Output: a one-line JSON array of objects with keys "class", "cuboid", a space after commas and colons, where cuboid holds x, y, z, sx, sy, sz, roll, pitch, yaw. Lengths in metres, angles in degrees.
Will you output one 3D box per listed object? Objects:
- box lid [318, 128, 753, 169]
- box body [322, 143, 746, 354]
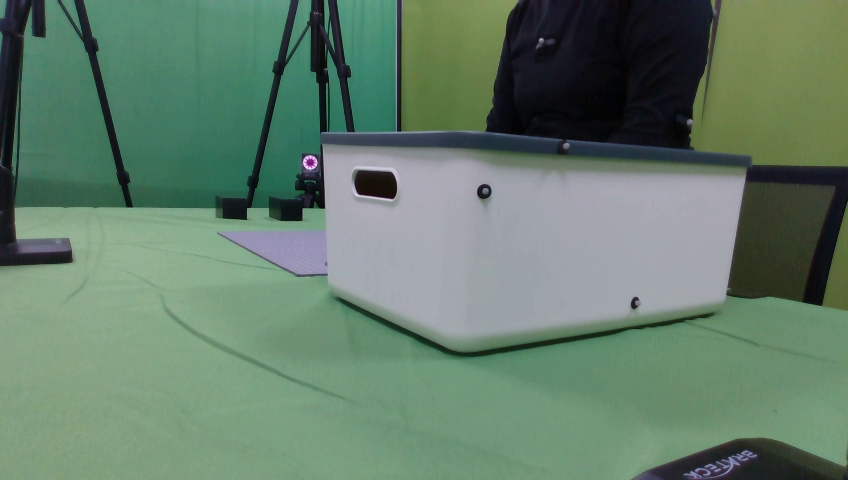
[{"class": "box lid", "cuboid": [0.107, -0.085, 0.593, 0.373, 0.015, 0.262, -1, 8, -34]}, {"class": "box body", "cuboid": [0.106, -0.011, 0.603, 0.366, 0.160, 0.253, -2, 8, -34]}]
